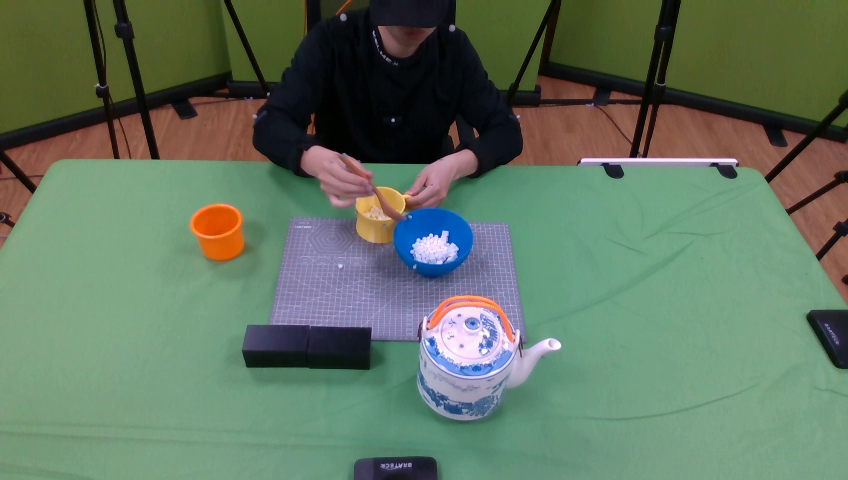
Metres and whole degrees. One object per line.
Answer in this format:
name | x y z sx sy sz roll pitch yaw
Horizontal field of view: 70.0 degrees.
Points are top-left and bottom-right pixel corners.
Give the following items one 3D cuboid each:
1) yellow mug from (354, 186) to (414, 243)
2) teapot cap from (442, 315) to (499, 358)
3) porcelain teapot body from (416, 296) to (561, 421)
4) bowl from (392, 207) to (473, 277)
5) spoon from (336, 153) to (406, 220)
yellow mug | -0.076 -0.057 1.212 0.131 0.064 0.099 -23 52 -26
teapot cap | 0.068 0.133 0.880 0.085 0.044 0.084 4 45 -4
porcelain teapot body | 0.094 0.164 0.907 0.205 0.226 0.144 6 45 1
bowl | 0.014 0.017 1.140 0.151 0.077 0.150 2 46 -2
spoon | -0.091 -0.090 1.051 0.041 0.195 0.021 11 62 43
